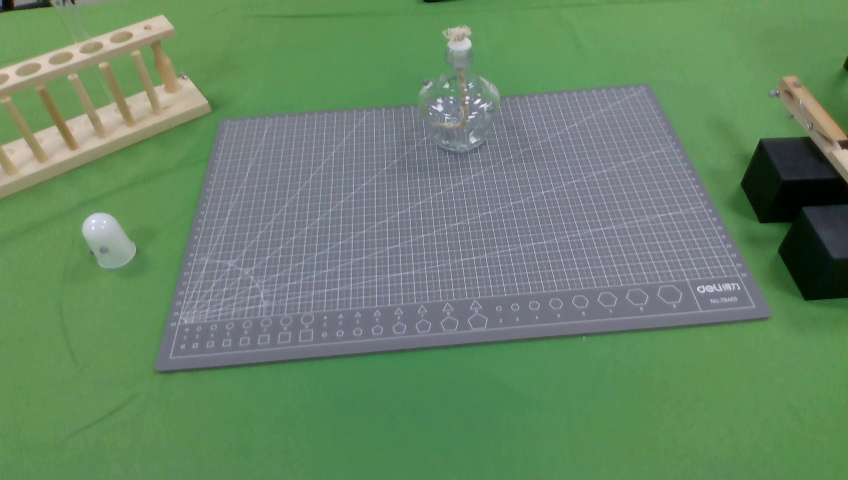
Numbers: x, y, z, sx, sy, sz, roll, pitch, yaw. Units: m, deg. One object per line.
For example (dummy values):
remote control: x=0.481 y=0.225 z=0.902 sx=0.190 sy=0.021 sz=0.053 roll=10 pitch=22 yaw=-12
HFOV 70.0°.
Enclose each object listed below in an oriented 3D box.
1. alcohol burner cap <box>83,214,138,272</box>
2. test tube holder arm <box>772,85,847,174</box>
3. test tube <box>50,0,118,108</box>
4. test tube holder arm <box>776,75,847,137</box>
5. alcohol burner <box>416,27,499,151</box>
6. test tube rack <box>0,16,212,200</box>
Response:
alcohol burner cap: x=-0.263 y=0.000 z=0.503 sx=0.034 sy=0.048 sz=0.033 roll=-1 pitch=48 yaw=2
test tube holder arm: x=0.324 y=-0.074 z=0.476 sx=0.015 sy=0.013 sz=0.176 roll=-1 pitch=46 yaw=-6
test tube: x=-0.326 y=-0.190 z=0.578 sx=0.017 sy=0.152 sz=0.017 roll=-4 pitch=48 yaw=4
test tube holder arm: x=0.321 y=-0.110 z=0.503 sx=0.015 sy=0.010 sz=0.087 roll=-1 pitch=47 yaw=-6
alcohol burner: x=0.031 y=-0.141 z=0.555 sx=0.078 sy=0.120 sz=0.077 roll=-1 pitch=50 yaw=1
test tube rack: x=-0.345 y=-0.127 z=0.590 sx=0.242 sy=0.086 sz=0.066 roll=-29 pitch=53 yaw=-21
